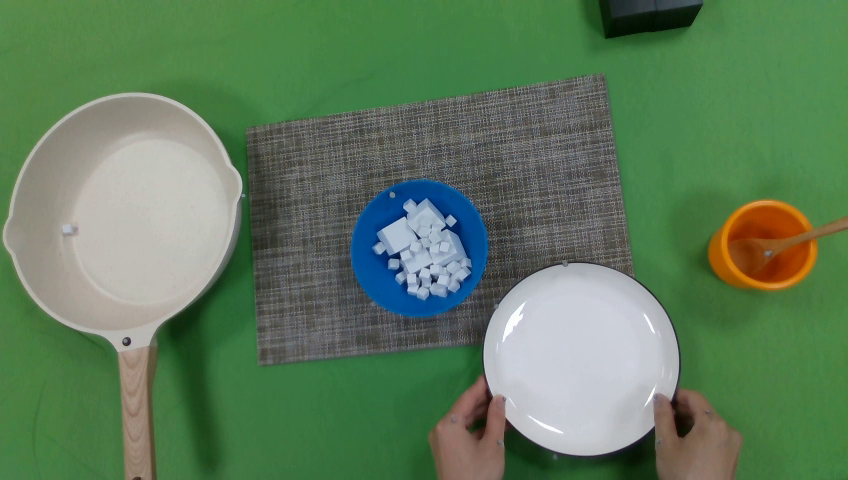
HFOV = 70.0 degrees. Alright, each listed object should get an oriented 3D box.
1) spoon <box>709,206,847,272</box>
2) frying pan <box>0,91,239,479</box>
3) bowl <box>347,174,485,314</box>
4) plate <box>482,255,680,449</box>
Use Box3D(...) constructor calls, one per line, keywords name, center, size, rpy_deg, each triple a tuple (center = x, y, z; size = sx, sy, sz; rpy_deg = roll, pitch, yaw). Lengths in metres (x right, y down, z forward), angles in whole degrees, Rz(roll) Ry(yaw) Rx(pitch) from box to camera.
Box3D(name="spoon", center=(0.378, -0.011, 0.602), size=(0.022, 0.193, 0.041), rpy_deg=(-11, 77, -38))
Box3D(name="frying pan", center=(-0.342, 0.065, 0.711), size=(0.306, 0.103, 0.484), rpy_deg=(-12, 72, 7))
Box3D(name="bowl", center=(-0.004, 0.009, 0.682), size=(0.151, 0.077, 0.151), rpy_deg=(-1, 82, 8))
Box3D(name="plate", center=(0.169, 0.120, 0.666), size=(0.207, 0.039, 0.207), rpy_deg=(-1, 85, 7))
